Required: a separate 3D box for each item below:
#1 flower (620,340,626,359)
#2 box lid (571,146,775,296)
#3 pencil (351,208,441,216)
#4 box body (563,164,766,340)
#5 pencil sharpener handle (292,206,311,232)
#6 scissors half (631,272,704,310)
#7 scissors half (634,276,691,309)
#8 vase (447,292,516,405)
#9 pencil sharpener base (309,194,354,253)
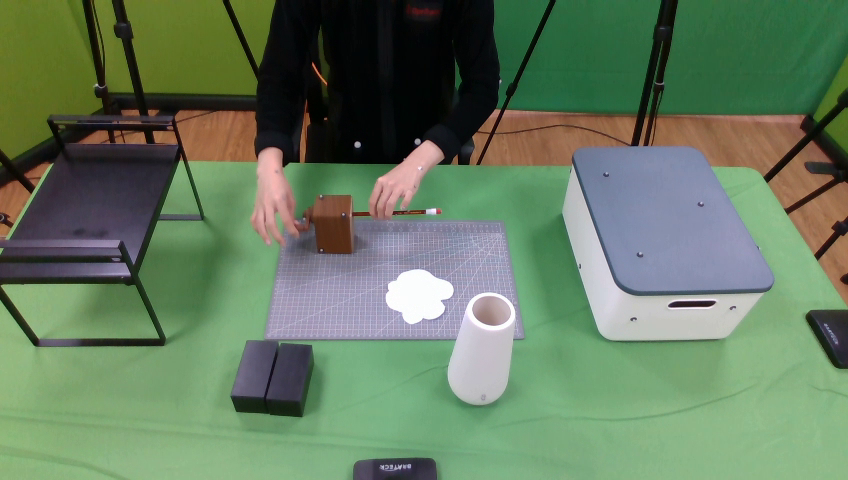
[{"bbox_3d":[0.416,0.065,1.186,0.038,0.044,0.360,29,64,-20],"label":"flower"},{"bbox_3d":[0.424,-0.048,1.074,0.263,0.015,0.369,-1,46,-4],"label":"box lid"},{"bbox_3d":[-0.065,-0.051,1.138,0.194,0.012,0.012,-3,47,-4],"label":"pencil"},{"bbox_3d":[0.421,0.003,1.130,0.254,0.161,0.361,0,46,-5],"label":"box body"},{"bbox_3d":[-0.224,-0.039,1.115,0.031,0.036,0.067,0,43,-3],"label":"pencil sharpener handle"},{"bbox_3d":[0.460,0.092,1.132,0.175,0.040,0.013,-22,83,-21],"label":"scissors half"},{"bbox_3d":[0.454,0.096,1.144,0.175,0.040,0.013,-20,88,-31],"label":"scissors half"},{"bbox_3d":[0.091,0.168,0.921,0.098,0.201,0.097,3,47,-3],"label":"vase"},{"bbox_3d":[-0.175,-0.031,1.150,0.077,0.107,0.061,0,47,-3],"label":"pencil sharpener base"}]
